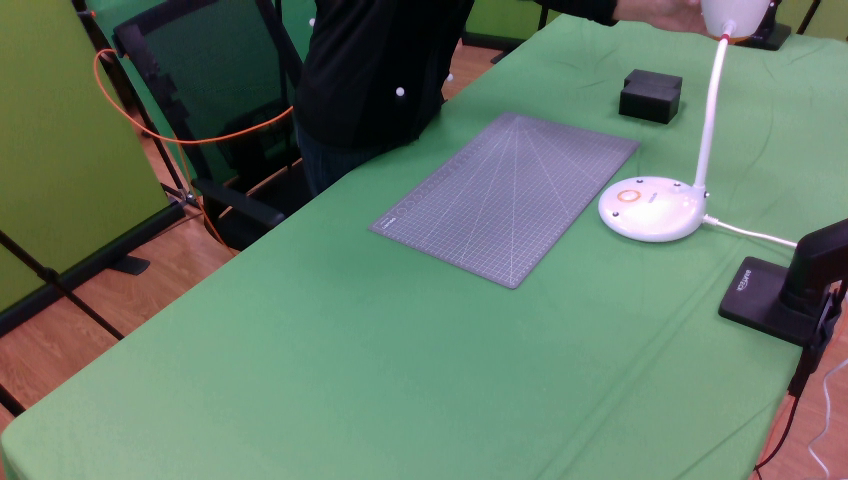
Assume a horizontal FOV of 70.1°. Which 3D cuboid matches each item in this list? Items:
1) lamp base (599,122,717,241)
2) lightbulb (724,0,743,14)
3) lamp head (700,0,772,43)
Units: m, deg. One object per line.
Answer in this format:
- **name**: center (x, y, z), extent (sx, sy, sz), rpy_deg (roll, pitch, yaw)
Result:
- **lamp base**: center (0.367, -0.109, 0.919), extent (0.178, 0.181, 0.160), rpy_deg (13, 45, 20)
- **lightbulb**: center (0.466, -0.392, 0.903), extent (0.059, 0.108, 0.059), rpy_deg (-10, 36, 8)
- **lamp head**: center (0.472, -0.363, 0.917), extent (0.112, 0.123, 0.112), rpy_deg (-7, 34, 5)
